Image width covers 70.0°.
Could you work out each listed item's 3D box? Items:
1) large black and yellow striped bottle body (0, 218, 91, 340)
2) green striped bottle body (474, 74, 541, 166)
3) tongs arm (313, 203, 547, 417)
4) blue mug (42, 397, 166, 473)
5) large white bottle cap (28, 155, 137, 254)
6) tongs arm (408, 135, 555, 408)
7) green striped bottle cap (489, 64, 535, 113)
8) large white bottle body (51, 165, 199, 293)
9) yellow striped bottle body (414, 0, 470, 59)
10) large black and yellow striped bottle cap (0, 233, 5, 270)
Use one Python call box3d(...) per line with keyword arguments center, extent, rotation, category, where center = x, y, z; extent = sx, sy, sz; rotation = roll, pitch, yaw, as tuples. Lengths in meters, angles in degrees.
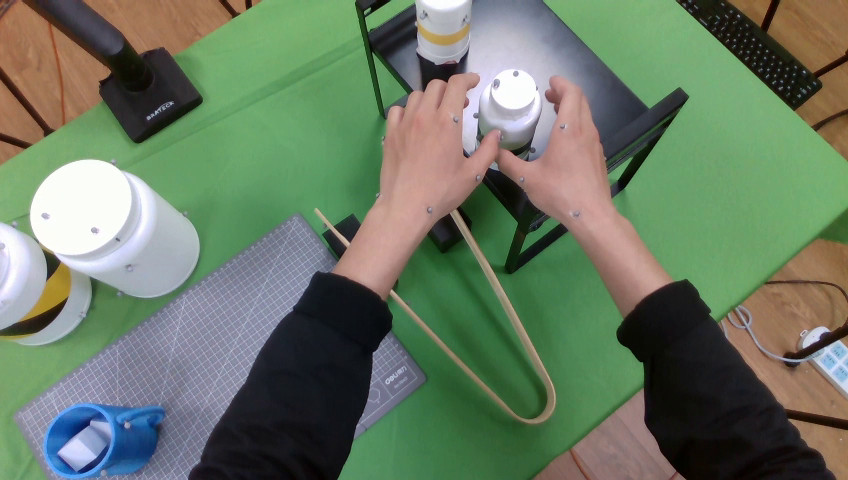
box3d(center=(-0.520, 0.047, 0.744), extent=(0.131, 0.185, 0.130), rotation=(0, 72, 2), category="large black and yellow striped bottle body")
box3d(center=(0.085, -0.129, 0.628), extent=(0.063, 0.120, 0.063), rotation=(-1, 72, 2), category="green striped bottle body")
box3d(center=(0.007, 0.083, 0.761), extent=(0.051, 0.026, 0.384), rotation=(-42, 89, -13), category="tongs arm")
box3d(center=(-0.368, 0.224, 0.726), extent=(0.116, 0.106, 0.082), rotation=(-30, 74, -8), category="blue mug")
box3d(center=(-0.382, -0.041, 0.678), extent=(0.115, 0.018, 0.114), rotation=(0, 73, 1), category="large white bottle cap")
box3d(center=(0.072, 0.036, 0.777), extent=(0.028, 0.028, 0.386), rotation=(-28, 86, -15), category="tongs arm")
box3d(center=(0.084, -0.145, 0.578), extent=(0.044, 0.020, 0.044), rotation=(0, 74, 2), category="green striped bottle cap")
box3d(center=(-0.378, -0.015, 0.759), extent=(0.130, 0.185, 0.130), rotation=(0, 72, 1), category="large white bottle body")
box3d(center=(0.020, -0.261, 0.668), extent=(0.063, 0.121, 0.062), rotation=(0, 72, 2), category="yellow striped bottle body")
box3d(center=(-0.524, 0.020, 0.664), extent=(0.115, 0.019, 0.114), rotation=(0, 73, 0), category="large black and yellow striped bottle cap")
